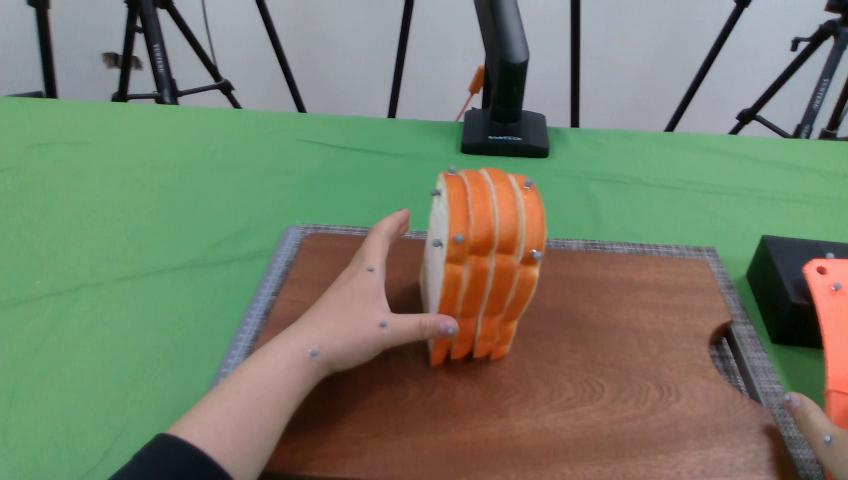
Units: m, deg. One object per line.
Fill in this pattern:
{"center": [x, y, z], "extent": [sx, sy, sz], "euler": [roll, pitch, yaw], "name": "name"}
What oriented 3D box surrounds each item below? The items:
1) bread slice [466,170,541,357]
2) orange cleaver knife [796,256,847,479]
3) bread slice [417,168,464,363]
{"center": [0.062, 0.013, 0.485], "extent": [0.019, 0.132, 0.104], "euler": [5, 39, -11], "name": "bread slice"}
{"center": [0.339, 0.094, 0.479], "extent": [0.077, 0.012, 0.210], "euler": [14, 57, 9], "name": "orange cleaver knife"}
{"center": [0.012, 0.012, 0.483], "extent": [0.018, 0.135, 0.106], "euler": [2, 34, -8], "name": "bread slice"}
